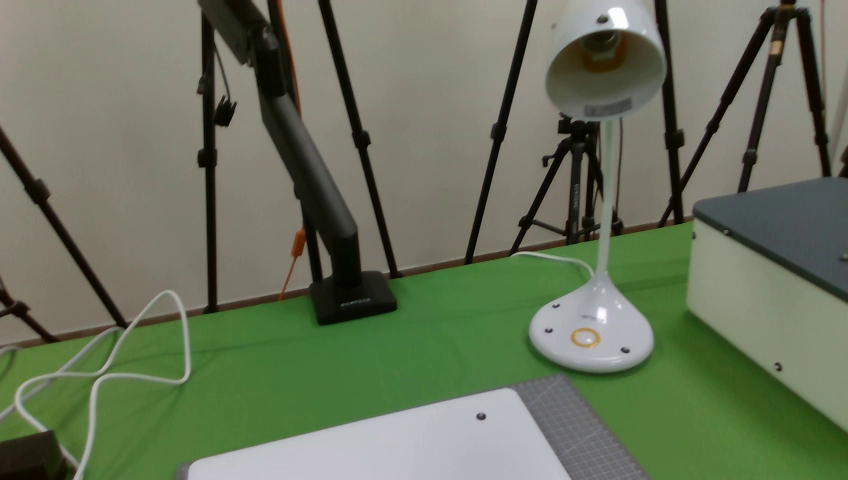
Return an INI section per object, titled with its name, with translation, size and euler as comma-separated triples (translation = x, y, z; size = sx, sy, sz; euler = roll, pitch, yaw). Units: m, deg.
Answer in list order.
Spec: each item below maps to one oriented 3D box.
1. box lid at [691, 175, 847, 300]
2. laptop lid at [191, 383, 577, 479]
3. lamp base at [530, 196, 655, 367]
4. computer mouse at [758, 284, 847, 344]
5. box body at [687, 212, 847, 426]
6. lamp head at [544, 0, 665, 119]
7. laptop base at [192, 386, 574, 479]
[box lid]
translation = 0.518, 0.003, 0.684
size = 0.264, 0.015, 0.367
euler = -9, 26, -13
[laptop lid]
translation = -0.034, 0.240, 0.555
size = 0.357, 0.013, 0.239
euler = -9, 28, -12
[lamp base]
translation = 0.222, 0.043, 0.784
size = 0.160, 0.181, 0.178
euler = 5, 24, 17
[computer mouse]
translation = 0.506, 0.093, 0.802
size = 0.063, 0.041, 0.116
euler = -7, 29, -15
[box body]
translation = 0.522, 0.071, 0.714
size = 0.255, 0.161, 0.360
euler = -9, 26, -13
[lamp head]
translation = 0.178, -0.198, 0.608
size = 0.112, 0.113, 0.122
euler = 2, 51, 10
[laptop base]
translation = -0.034, 0.249, 0.562
size = 0.355, 0.023, 0.233
euler = -9, 29, -13
